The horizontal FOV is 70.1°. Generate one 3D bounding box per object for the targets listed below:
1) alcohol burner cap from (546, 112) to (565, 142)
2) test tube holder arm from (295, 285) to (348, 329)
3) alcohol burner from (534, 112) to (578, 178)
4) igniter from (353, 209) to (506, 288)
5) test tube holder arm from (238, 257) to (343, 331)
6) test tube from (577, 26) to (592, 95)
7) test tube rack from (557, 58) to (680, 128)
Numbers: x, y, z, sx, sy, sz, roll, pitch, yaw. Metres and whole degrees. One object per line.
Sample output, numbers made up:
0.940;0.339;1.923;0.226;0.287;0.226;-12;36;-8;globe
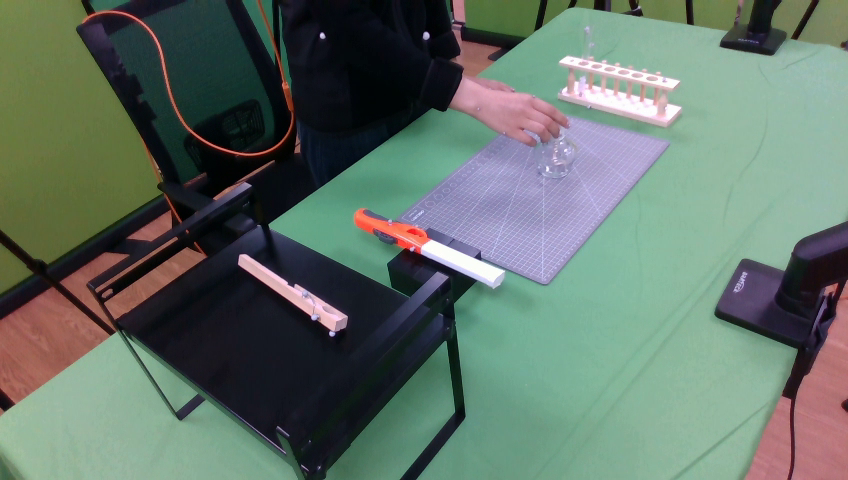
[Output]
0.229;-0.197;1.042;0.034;0.048;0.033;-2;45;3;alcohol burner cap
-0.113;0.070;0.635;0.087;0.015;0.010;25;17;36;test tube holder arm
0.232;-0.170;1.066;0.078;0.119;0.077;-5;39;5;alcohol burner
-0.003;0.006;0.892;0.274;0.025;0.057;24;37;31;igniter
-0.150;0.055;0.657;0.177;0.015;0.013;24;17;35;test tube holder arm
0.325;-0.362;1.227;0.017;0.151;0.017;-3;45;4;test tube
0.395;-0.309;1.230;0.240;0.085;0.067;25;50;33;test tube rack
